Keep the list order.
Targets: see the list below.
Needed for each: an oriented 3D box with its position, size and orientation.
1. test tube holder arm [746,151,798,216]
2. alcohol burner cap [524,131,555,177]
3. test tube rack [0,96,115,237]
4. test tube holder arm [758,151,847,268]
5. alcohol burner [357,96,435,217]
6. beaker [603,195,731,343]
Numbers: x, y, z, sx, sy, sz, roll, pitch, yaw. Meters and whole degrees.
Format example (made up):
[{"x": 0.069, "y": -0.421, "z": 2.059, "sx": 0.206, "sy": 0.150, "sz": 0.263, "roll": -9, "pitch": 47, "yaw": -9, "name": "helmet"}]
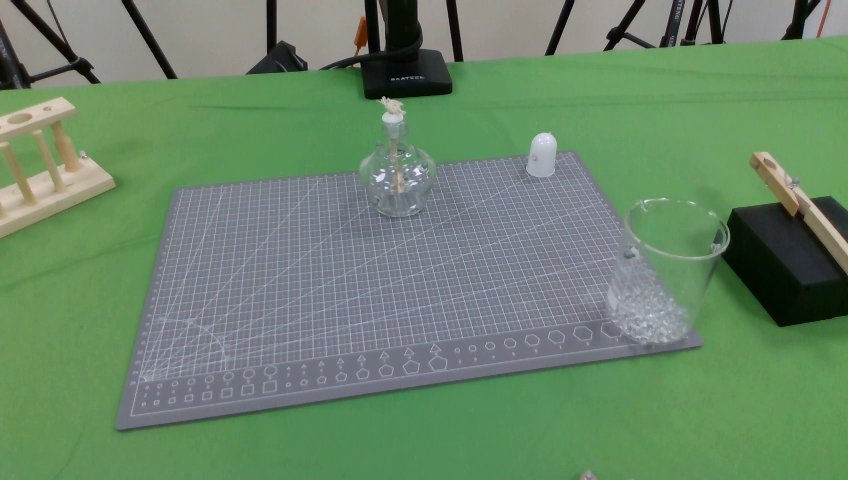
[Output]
[{"x": 0.326, "y": -0.054, "z": 0.564, "sx": 0.010, "sy": 0.015, "sz": 0.087, "roll": -10, "pitch": 41, "yaw": 1, "name": "test tube holder arm"}, {"x": 0.128, "y": -0.096, "z": 0.663, "sx": 0.034, "sy": 0.048, "sz": 0.033, "roll": 0, "pitch": 41, "yaw": 0, "name": "alcohol burner cap"}, {"x": -0.440, "y": -0.047, "z": 0.578, "sx": 0.066, "sy": 0.086, "sz": 0.242, "roll": 32, "pitch": 50, "yaw": 32, "name": "test tube rack"}, {"x": 0.336, "y": -0.026, "z": 0.530, "sx": 0.013, "sy": 0.015, "sz": 0.176, "roll": -10, "pitch": 41, "yaw": 1, "name": "test tube holder arm"}, {"x": -0.029, "y": -0.083, "z": 0.593, "sx": 0.078, "sy": 0.120, "sz": 0.077, "roll": -1, "pitch": 40, "yaw": 1, "name": "alcohol burner"}, {"x": 0.184, "y": 0.024, "z": 0.478, "sx": 0.074, "sy": 0.101, "sz": 0.083, "roll": -12, "pitch": 42, "yaw": -14, "name": "beaker"}]
